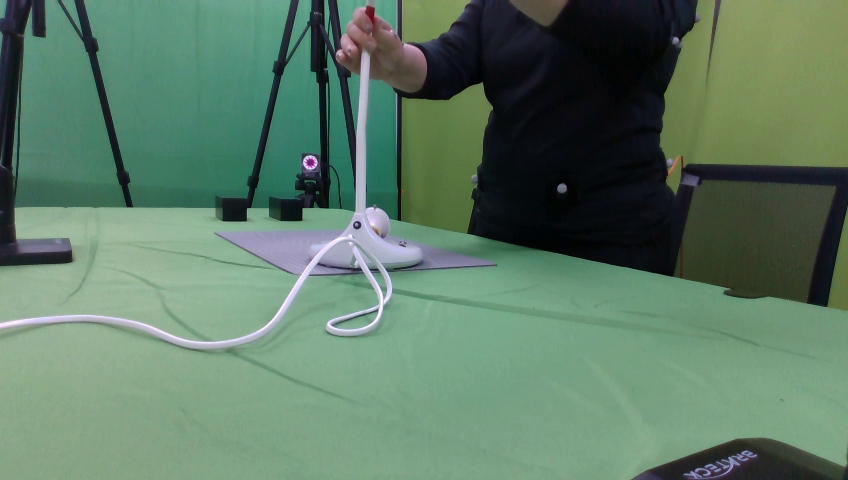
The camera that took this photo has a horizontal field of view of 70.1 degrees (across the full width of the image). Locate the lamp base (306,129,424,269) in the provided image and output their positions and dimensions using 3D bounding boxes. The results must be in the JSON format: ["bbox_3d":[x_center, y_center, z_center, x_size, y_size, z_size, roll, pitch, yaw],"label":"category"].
[{"bbox_3d":[-0.077,-0.057,0.810,0.161,0.180,0.179,2,10,-4],"label":"lamp base"}]

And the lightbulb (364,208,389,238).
[{"bbox_3d":[-0.089,-0.017,1.019,0.059,0.059,0.107,3,23,-3],"label":"lightbulb"}]
